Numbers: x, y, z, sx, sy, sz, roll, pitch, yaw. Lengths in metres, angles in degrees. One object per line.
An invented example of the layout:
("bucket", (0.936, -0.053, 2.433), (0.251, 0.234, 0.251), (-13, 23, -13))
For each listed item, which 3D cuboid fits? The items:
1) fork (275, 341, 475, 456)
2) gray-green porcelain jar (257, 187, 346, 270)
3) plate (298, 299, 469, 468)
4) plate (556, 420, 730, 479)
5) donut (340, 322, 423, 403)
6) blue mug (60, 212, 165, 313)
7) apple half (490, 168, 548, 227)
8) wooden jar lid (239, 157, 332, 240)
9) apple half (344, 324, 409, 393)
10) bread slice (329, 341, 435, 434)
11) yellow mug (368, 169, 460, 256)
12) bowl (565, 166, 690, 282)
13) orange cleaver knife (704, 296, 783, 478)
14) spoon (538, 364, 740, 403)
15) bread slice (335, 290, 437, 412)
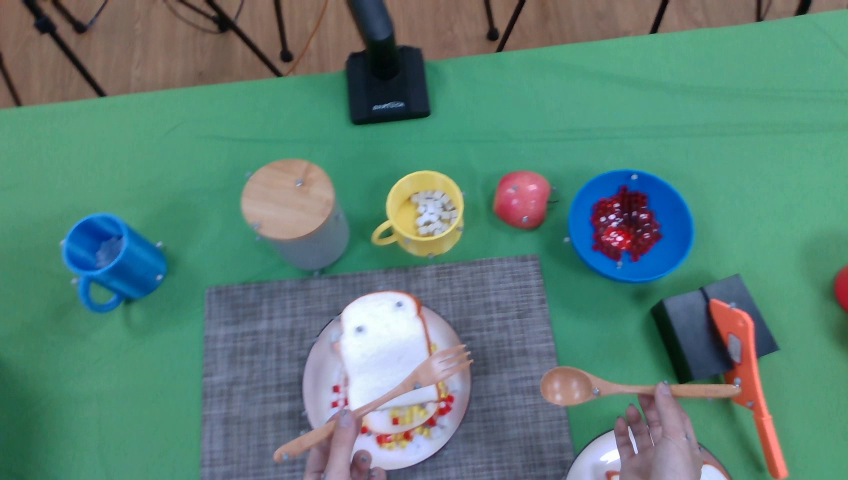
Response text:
("fork", (-0.043, 0.150, 0.573), (0.207, 0.018, 0.028), (-25, 95, -20))
("gray-green porcelain jar", (-0.159, -0.025, 0.779), (0.106, 0.127, 0.105), (-1, 69, 3))
("plate", (-0.049, 0.170, 0.745), (0.207, 0.039, 0.206), (-1, 70, 2))
("plate", (0.247, 0.311, 0.683), (0.209, 0.038, 0.207), (-1, 70, 3))
("donut", (-0.050, 0.146, 0.724), (0.099, 0.048, 0.098), (-1, 70, 3))
("blue mug", (-0.403, 0.037, 0.778), (0.082, 0.106, 0.116), (13, 71, 8))
("apple half", (0.129, -0.064, 0.819), (0.074, 0.054, 0.080), (15, 72, 11))
("wooden jar lid", (-0.163, -0.047, 0.719), (0.108, 0.021, 0.107), (0, 67, 1))
("apple half", (-0.055, 0.132, 0.691), (0.081, 0.033, 0.080), (-3, 67, 7))
("bread slice", (-0.044, 0.168, 0.746), (0.107, 0.018, 0.133), (-23, 72, -4))
("yellow mug", (-0.015, -0.029, 0.806), (0.131, 0.064, 0.099), (-27, 71, -6))
("bowl", (0.252, -0.010, 0.779), (0.151, 0.077, 0.150), (-1, 70, 3))
("orange cleaver knife", (0.369, 0.168, 0.707), (0.012, 0.077, 0.211), (-15, 92, -10))
("spoon", (0.215, 0.149, 0.616), (0.193, 0.022, 0.041), (-2, 82, 20))
("bread slice", (-0.048, 0.122, 0.667), (0.105, 0.019, 0.131), (-11, 83, 5))
